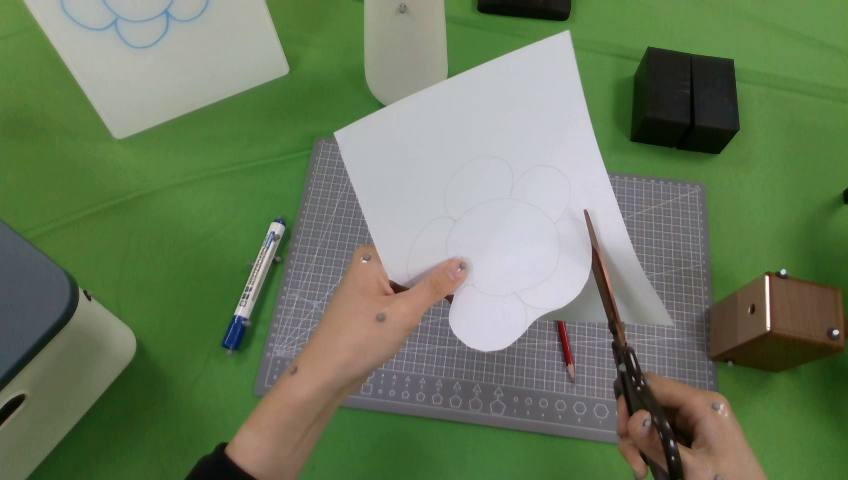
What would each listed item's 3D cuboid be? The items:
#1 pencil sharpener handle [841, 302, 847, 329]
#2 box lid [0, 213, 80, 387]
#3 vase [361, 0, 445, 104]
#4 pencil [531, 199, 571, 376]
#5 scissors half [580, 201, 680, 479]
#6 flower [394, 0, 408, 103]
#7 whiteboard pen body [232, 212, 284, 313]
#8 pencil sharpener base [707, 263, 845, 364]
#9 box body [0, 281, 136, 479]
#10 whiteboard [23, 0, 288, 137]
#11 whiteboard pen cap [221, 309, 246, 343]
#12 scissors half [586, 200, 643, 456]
[{"bbox_3d":[0.380,0.079,0.563,0.030,0.068,0.035,11,61,0],"label":"pencil sharpener handle"},{"bbox_3d":[-0.479,0.035,0.458,0.370,0.015,0.262,33,70,11],"label":"box lid"},{"bbox_3d":[-0.024,-0.237,0.647,0.098,0.201,0.097,0,65,0],"label":"vase"},{"bbox_3d":[0.133,0.045,0.633,0.012,0.012,0.192,-6,69,-4],"label":"pencil"},{"bbox_3d":[0.120,0.060,0.360,0.013,0.040,0.174,-16,82,-2],"label":"scissors half"},{"bbox_3d":[-0.028,-0.283,0.576,0.044,0.365,0.038,0,49,3],"label":"flower"},{"bbox_3d":[-0.175,0.033,0.626,0.017,0.017,0.140,13,65,5],"label":"whiteboard pen body"},{"bbox_3d":[0.329,0.073,0.574,0.077,0.107,0.061,11,66,0],"label":"pencil sharpener base"},{"bbox_3d":[-0.478,0.066,0.526,0.362,0.161,0.253,32,70,11],"label":"box body"},{"bbox_3d":[-0.311,-0.306,0.644,0.217,0.308,0.142,-25,50,-11],"label":"whiteboard"},{"bbox_3d":[-0.188,0.085,0.602,0.018,0.018,0.033,13,62,5],"label":"whiteboard pen cap"},{"bbox_3d":[0.120,0.058,0.381,0.013,0.040,0.176,-15,107,3],"label":"scissors half"}]
